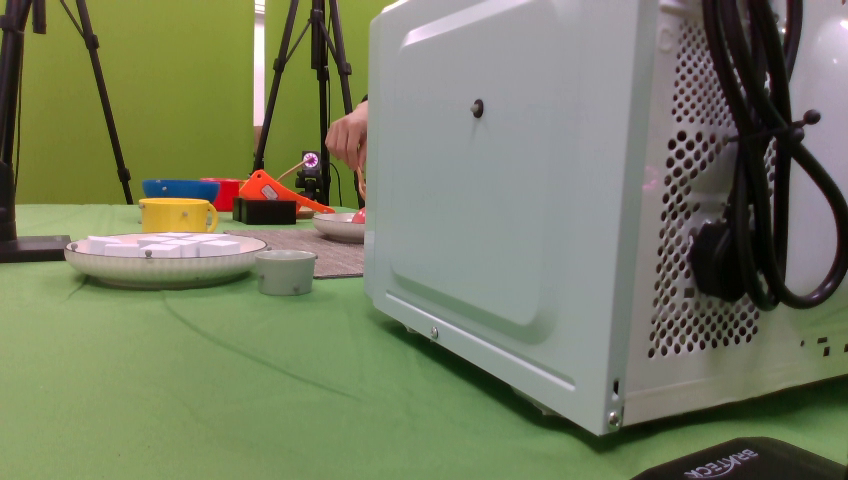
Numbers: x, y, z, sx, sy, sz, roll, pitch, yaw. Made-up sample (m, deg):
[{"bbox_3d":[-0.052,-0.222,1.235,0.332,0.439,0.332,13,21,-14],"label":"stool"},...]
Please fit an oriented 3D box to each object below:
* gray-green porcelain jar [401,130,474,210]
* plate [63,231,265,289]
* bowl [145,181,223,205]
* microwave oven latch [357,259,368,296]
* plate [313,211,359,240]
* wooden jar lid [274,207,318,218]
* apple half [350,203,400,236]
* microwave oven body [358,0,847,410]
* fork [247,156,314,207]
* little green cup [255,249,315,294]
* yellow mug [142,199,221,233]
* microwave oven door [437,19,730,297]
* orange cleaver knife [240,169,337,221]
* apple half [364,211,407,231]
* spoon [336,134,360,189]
[{"bbox_3d":[0.029,-0.129,1.148,0.106,0.127,0.105,-22,21,9],"label":"gray-green porcelain jar"},{"bbox_3d":[-0.288,0.021,0.687,0.208,0.039,0.207,2,8,0],"label":"plate"},{"bbox_3d":[-0.499,-0.081,1.261,0.151,0.077,0.151,2,8,0],"label":"bowl"},{"bbox_3d":[-0.019,0.031,0.528,0.079,0.029,0.030,-1,7,-25],"label":"microwave oven latch"},{"bbox_3d":[-0.091,-0.026,1.063,0.209,0.038,0.209,2,7,0],"label":"plate"},{"bbox_3d":[-0.303,-0.065,1.409,0.108,0.020,0.108,3,9,0],"label":"wooden jar lid"},{"bbox_3d":[-0.081,-0.036,1.023,0.081,0.053,0.074,-2,11,-34],"label":"apple half"},{"bbox_3d":[0.210,-0.051,0.471,0.444,0.260,0.324,-1,7,-28],"label":"microwave oven body"},{"bbox_3d":[-0.360,-0.147,1.523,0.207,0.018,0.028,-43,16,-7],"label":"fork"},{"bbox_3d":[-0.144,0.032,0.627,0.061,0.038,0.061,3,7,0],"label":"little green cup"},{"bbox_3d":[-0.373,-0.030,0.948,0.099,0.064,0.131,6,7,30],"label":"yellow mug"},{"bbox_3d":[0.181,-0.076,0.618,0.358,0.243,0.039,-2,8,-28],"label":"microwave oven door"},{"bbox_3d":[-0.287,-0.081,1.298,0.212,0.077,0.012,25,-3,-31],"label":"orange cleaver knife"},{"bbox_3d":[-0.068,-0.037,1.103,0.081,0.033,0.081,-1,10,1],"label":"apple half"},{"bbox_3d":[-0.125,-0.133,1.123,0.021,0.193,0.042,-33,-32,12],"label":"spoon"}]
